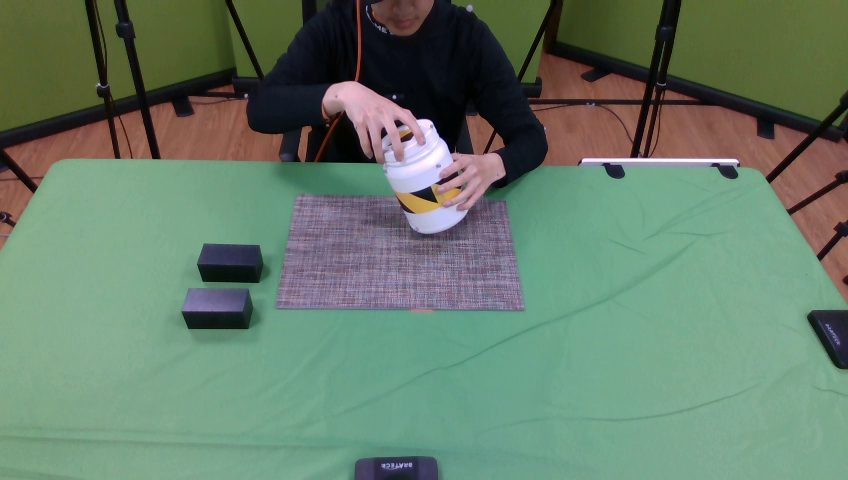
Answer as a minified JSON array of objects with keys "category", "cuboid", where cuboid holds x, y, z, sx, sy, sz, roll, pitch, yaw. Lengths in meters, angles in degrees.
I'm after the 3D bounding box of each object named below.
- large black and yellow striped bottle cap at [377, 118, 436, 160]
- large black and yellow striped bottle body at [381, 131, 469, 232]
[{"category":"large black and yellow striped bottle cap","cuboid":[-0.033,-0.187,1.114,0.115,0.019,0.114,-20,31,13]},{"category":"large black and yellow striped bottle body","cuboid":[-0.001,-0.123,1.165,0.131,0.185,0.130,-17,36,13]}]
